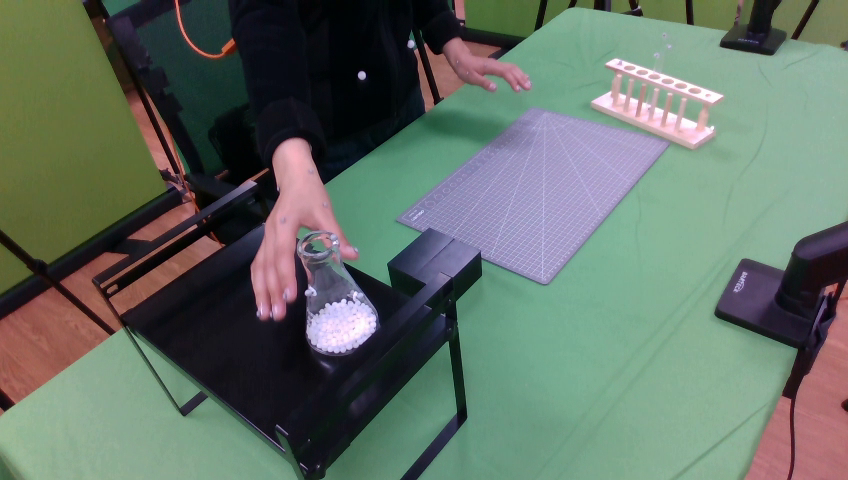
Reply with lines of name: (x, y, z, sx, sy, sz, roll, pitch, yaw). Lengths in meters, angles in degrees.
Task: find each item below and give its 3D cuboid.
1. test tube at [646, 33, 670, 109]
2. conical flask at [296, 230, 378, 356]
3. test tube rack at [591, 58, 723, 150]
test tube: (0.445, -0.320, 1.154, 0.017, 0.151, 0.017, -1, 41, 2)
conical flask: (-0.090, 0.048, 0.578, 0.075, 0.122, 0.075, -5, 41, 5)
test tube rack: (0.442, -0.269, 1.171, 0.067, 0.085, 0.240, -30, 46, -24)
